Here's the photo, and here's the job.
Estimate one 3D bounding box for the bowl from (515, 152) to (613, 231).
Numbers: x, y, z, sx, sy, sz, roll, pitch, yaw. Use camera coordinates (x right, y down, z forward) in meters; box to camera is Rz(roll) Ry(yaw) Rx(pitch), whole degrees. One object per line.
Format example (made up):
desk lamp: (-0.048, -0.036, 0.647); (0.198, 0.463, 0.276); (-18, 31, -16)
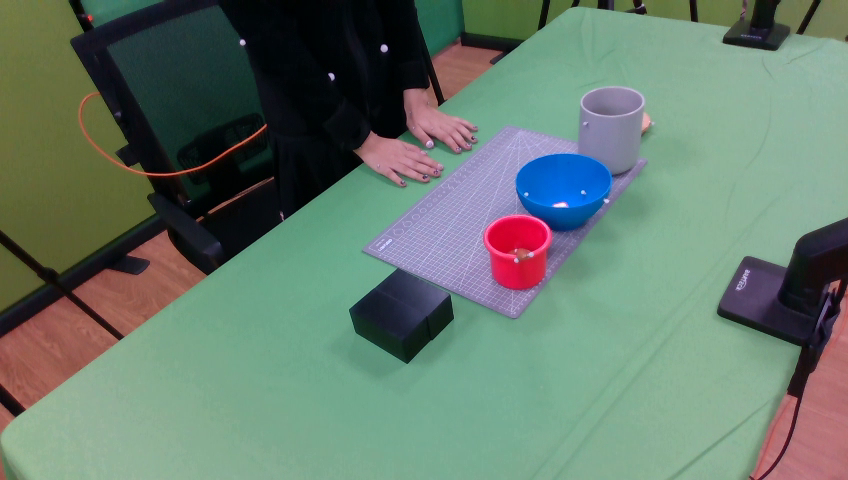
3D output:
bowl: (0.224, -0.068, 0.972); (0.151, 0.077, 0.150); (-5, 40, 5)

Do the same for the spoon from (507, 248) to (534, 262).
spoon: (0.135, 0.020, 0.835); (0.041, 0.021, 0.194); (-3, -3, 8)

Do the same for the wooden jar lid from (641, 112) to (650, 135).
wooden jar lid: (0.382, -0.225, 1.178); (0.108, 0.021, 0.108); (-5, 40, 4)

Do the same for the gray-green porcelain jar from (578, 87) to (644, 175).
gray-green porcelain jar: (0.324, -0.185, 1.055); (0.106, 0.127, 0.105); (-5, 40, 5)
